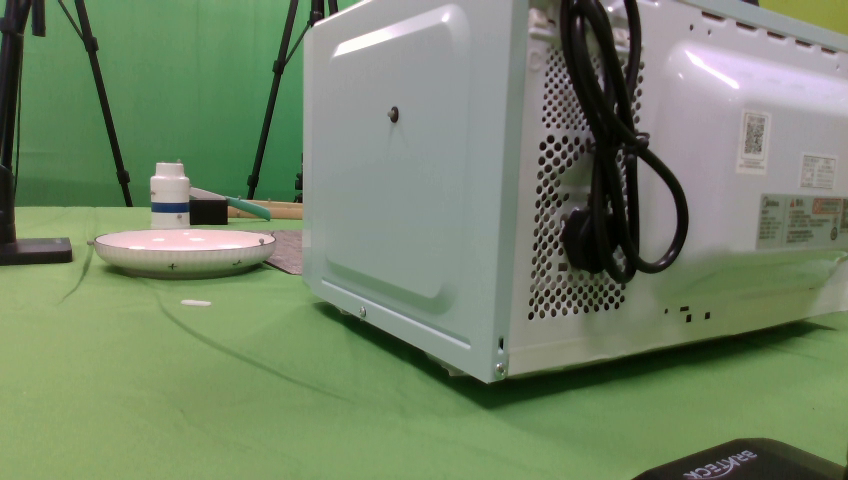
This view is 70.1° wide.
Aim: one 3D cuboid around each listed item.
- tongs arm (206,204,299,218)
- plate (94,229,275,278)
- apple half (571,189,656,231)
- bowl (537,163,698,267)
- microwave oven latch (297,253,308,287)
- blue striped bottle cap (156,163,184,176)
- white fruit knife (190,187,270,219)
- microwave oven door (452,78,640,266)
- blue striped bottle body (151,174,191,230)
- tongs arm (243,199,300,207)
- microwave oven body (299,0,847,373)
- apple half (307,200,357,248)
[{"bbox_3d":[-0.302,-0.065,1.407,0.389,0.028,0.028,1,4,-15],"label":"tongs arm"},{"bbox_3d":[-0.291,0.016,0.749,0.208,0.039,0.207,2,7,0],"label":"plate"},{"bbox_3d":[0.181,-0.031,0.580,0.081,0.033,0.081,13,-4,1],"label":"apple half"},{"bbox_3d":[0.177,-0.021,0.586,0.151,0.077,0.151,12,6,-1],"label":"bowl"},{"bbox_3d":[-0.081,0.027,0.580,0.079,0.029,0.030,-1,7,-28],"label":"microwave oven latch"},{"bbox_3d":[-0.438,-0.122,1.045,0.044,0.020,0.044,5,6,0],"label":"blue striped bottle cap"},{"bbox_3d":[-0.413,-0.081,1.270,0.208,0.027,0.016,17,13,-41],"label":"white fruit knife"},{"bbox_3d":[0.164,-0.106,0.918,0.039,0.243,0.354,-2,8,-32],"label":"microwave oven door"},{"bbox_3d":[-0.439,-0.071,1.052,0.063,0.120,0.063,2,8,0],"label":"blue striped bottle body"},{"bbox_3d":[-0.309,-0.078,1.487,0.385,0.026,0.050,4,7,-2],"label":"tongs arm"},{"bbox_3d":[0.152,-0.055,0.542,0.444,0.260,0.324,-2,7,-33],"label":"microwave oven body"},{"bbox_3d":[-0.135,-0.024,0.942,0.053,0.074,0.081,13,9,38],"label":"apple half"}]
